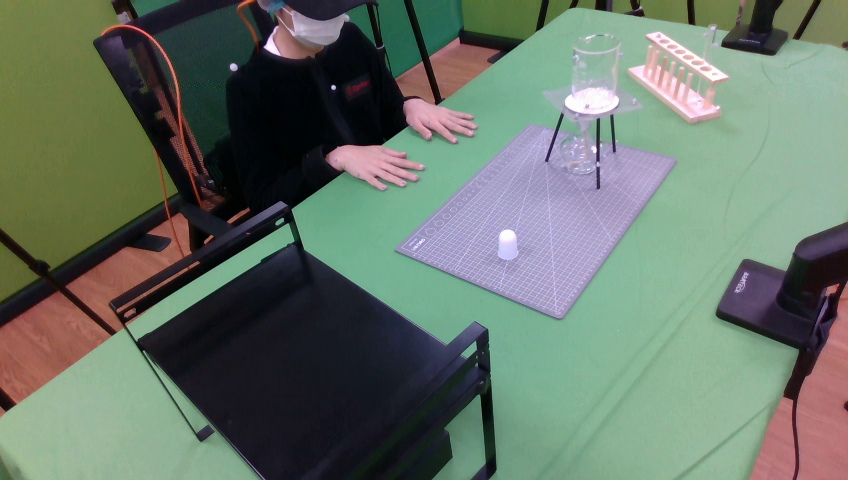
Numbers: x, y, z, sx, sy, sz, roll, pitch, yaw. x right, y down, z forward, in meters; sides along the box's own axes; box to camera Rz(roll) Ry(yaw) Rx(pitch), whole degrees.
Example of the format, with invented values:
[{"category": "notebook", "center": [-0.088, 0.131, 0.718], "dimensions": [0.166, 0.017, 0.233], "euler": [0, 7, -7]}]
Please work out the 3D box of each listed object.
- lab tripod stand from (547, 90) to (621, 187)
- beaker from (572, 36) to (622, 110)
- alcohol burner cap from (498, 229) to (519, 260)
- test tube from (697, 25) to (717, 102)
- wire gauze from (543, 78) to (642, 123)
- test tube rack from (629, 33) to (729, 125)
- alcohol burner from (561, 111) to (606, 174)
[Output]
[{"category": "lab tripod stand", "center": [0.289, -0.184, 1.062], "dimensions": [0.148, 0.132, 0.147], "euler": [-6, 41, 6]}, {"category": "beaker", "center": [0.279, -0.274, 0.992], "dimensions": [0.074, 0.101, 0.083], "euler": [-14, 40, -5]}, {"category": "alcohol burner cap", "center": [0.131, 0.004, 0.938], "dimensions": [0.034, 0.048, 0.033], "euler": [-4, 40, 4]}, {"category": "test tube", "center": [0.546, -0.337, 1.166], "dimensions": [0.017, 0.151, 0.017], "euler": [-5, 36, 4]}, {"category": "wire gauze", "center": [0.282, -0.234, 1.022], "dimensions": [0.125, 0.011, 0.120], "euler": [-17, 38, -5]}, {"category": "test tube rack", "center": [0.516, -0.337, 1.247], "dimensions": [0.067, 0.085, 0.240], "euler": [-14, 41, -7]}, {"category": "alcohol burner", "center": [0.283, -0.177, 1.071], "dimensions": [0.078, 0.119, 0.077], "euler": [-5, 42, 5]}]
